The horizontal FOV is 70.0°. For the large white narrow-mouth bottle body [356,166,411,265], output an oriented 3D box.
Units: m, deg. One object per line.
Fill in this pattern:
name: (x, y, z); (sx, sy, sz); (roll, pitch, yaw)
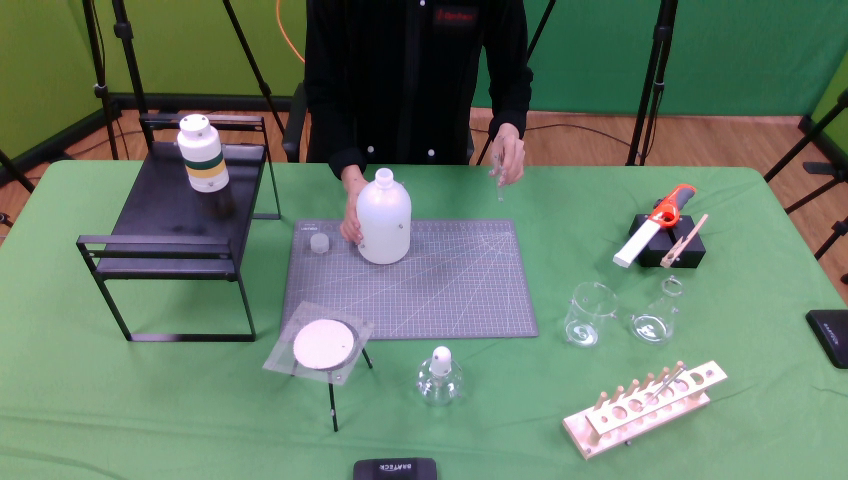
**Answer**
large white narrow-mouth bottle body: (-0.075, -0.050, 1.118); (0.102, 0.195, 0.101); (3, 44, -2)

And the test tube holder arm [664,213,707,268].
test tube holder arm: (0.507, -0.001, 1.171); (0.013, 0.015, 0.178); (33, 53, 26)

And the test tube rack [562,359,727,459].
test tube rack: (0.341, 0.247, 0.940); (0.243, 0.085, 0.066); (-16, 49, -18)

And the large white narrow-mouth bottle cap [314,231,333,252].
large white narrow-mouth bottle cap: (-0.195, 0.003, 1.178); (0.038, 0.024, 0.037); (2, 45, -2)

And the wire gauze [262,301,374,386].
wire gauze: (-0.150, 0.148, 0.873); (0.121, 0.011, 0.124); (14, 46, 12)

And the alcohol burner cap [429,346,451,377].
alcohol burner cap: (0.026, 0.180, 0.912); (0.034, 0.048, 0.033); (1, 47, -1)

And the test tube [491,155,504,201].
test tube: (0.136, -0.110, 1.109); (0.017, 0.151, 0.017); (-4, 65, 9)

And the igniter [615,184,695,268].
igniter: (0.459, -0.035, 1.197); (0.057, 0.025, 0.276); (32, 55, 27)

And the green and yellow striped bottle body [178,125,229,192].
green and yellow striped bottle body: (-0.361, -0.142, 0.989); (0.063, 0.120, 0.063); (2, 46, -2)

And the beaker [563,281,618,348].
beaker: (0.283, 0.129, 1.041); (0.074, 0.101, 0.083); (11, 46, 7)

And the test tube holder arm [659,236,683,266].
test tube holder arm: (0.472, 0.020, 1.149); (0.010, 0.015, 0.088); (35, 54, 27)

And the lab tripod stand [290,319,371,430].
lab tripod stand: (-0.146, 0.194, 0.923); (0.148, 0.132, 0.147); (1, 47, -1)

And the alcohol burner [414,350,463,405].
alcohol burner: (0.023, 0.205, 0.939); (0.078, 0.120, 0.077); (1, 47, -1)

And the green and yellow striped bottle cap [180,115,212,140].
green and yellow striped bottle cap: (-0.358, -0.177, 0.951); (0.045, 0.020, 0.045); (2, 45, -2)

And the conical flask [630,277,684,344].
conical flask: (0.409, 0.117, 1.045); (0.075, 0.122, 0.075); (2, 46, -2)

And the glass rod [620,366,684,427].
glass rod: (0.323, 0.227, 0.866); (0.008, 0.200, 0.008); (5, 51, -7)
